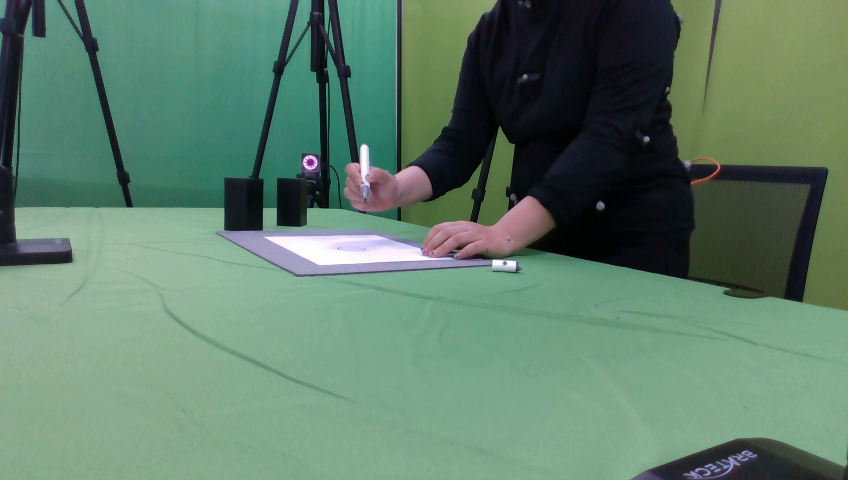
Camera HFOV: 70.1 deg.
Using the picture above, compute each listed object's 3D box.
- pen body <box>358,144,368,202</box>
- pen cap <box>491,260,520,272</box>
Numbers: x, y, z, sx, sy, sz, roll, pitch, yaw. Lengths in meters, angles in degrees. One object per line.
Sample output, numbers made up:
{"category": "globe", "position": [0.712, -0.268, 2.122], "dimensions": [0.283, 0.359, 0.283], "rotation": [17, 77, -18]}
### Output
{"category": "pen body", "position": [-0.103, -0.114, 1.026], "dimensions": [0.017, 0.017, 0.143], "rotation": [2, 46, -6]}
{"category": "pen cap", "position": [0.110, 0.036, 0.813], "dimensions": [0.038, 0.017, 0.017], "rotation": [2, 7, 9]}
